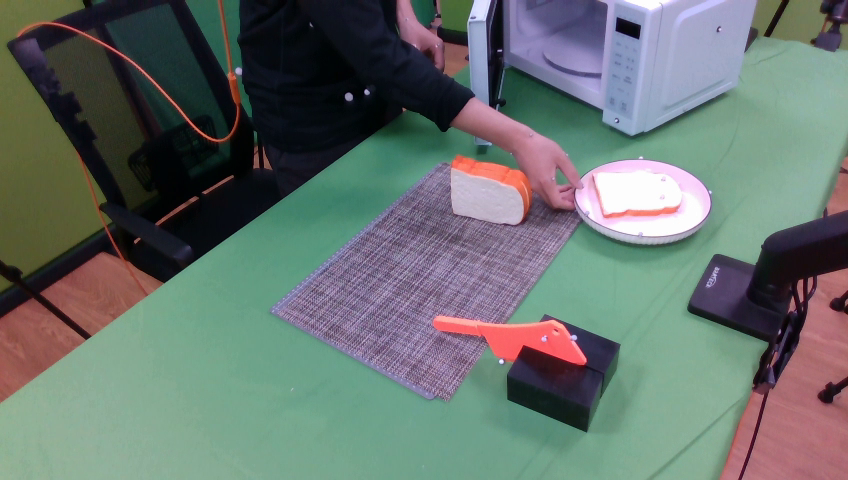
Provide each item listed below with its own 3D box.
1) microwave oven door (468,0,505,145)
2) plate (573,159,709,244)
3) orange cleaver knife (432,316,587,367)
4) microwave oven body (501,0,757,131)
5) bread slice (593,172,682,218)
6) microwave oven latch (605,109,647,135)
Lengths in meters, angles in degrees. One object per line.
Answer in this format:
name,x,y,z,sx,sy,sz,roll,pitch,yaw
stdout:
microwave oven door,0.129,-0.388,1.208,0.039,0.245,0.355,2,42,11
plate,0.347,-0.059,0.979,0.207,0.039,0.206,-4,41,4
orange cleaver knife,0.101,0.127,0.761,0.210,0.077,0.012,-1,34,40
microwave oven body,0.396,-0.448,1.248,0.327,0.261,0.437,-27,44,-21
bread slice,0.351,-0.076,0.995,0.134,0.018,0.106,-4,44,1
microwave oven latch,0.379,-0.225,1.139,0.030,0.029,0.078,-26,43,-19
